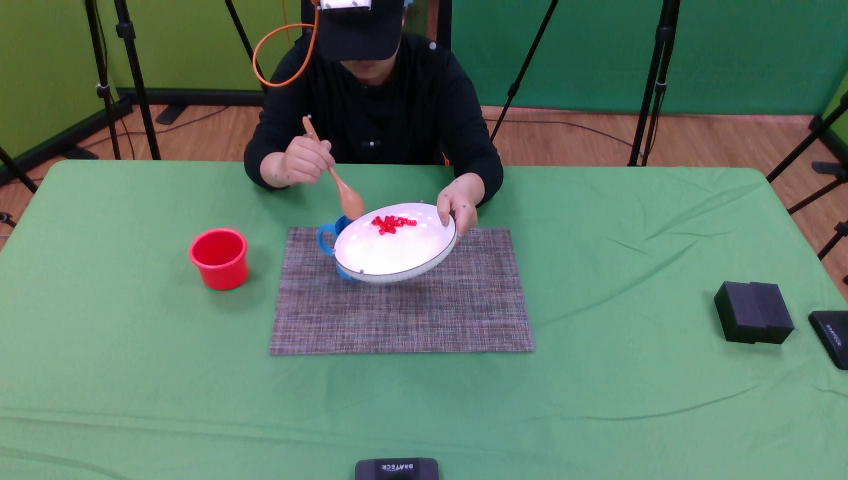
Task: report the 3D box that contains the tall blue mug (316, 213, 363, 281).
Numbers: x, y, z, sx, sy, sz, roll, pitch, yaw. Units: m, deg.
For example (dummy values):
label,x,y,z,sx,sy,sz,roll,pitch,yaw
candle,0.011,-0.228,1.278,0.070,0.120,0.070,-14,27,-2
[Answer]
label,x,y,z,sx,sy,sz,roll,pitch,yaw
tall blue mug,-0.142,0.014,1.109,0.107,0.108,0.077,-4,48,-9

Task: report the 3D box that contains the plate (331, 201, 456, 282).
label,x,y,z,sx,sy,sz,roll,pitch,yaw
plate,-0.048,0.006,1.000,0.207,0.039,0.206,-9,34,6

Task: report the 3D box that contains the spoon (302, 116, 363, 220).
label,x,y,z,sx,sy,sz,roll,pitch,yaw
spoon,-0.158,-0.121,1.029,0.041,0.194,0.021,-34,12,-23
